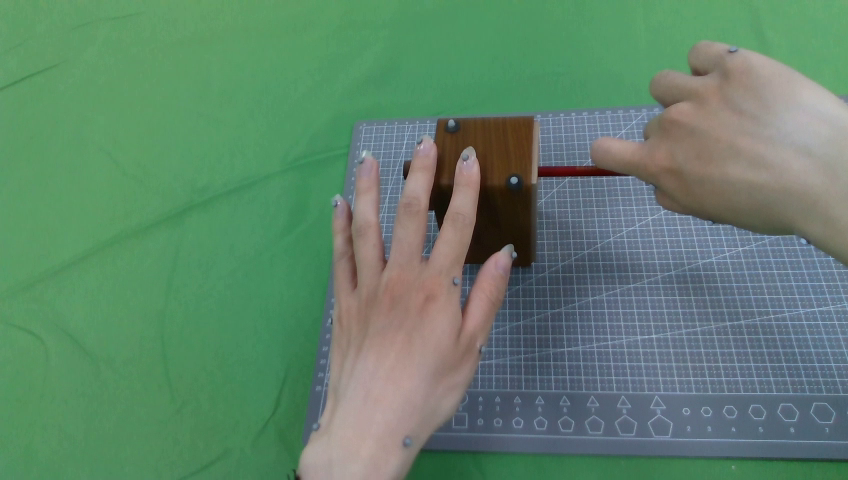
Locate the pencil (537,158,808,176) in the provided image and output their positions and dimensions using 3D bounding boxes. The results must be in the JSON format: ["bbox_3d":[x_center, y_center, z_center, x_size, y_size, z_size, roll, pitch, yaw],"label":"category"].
[{"bbox_3d":[0.146,-0.047,0.396,0.194,0.012,0.012,1,58,8],"label":"pencil"}]

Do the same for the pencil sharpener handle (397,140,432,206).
[{"bbox_3d":[-0.009,-0.044,0.436,0.030,0.068,0.035,2,63,11],"label":"pencil sharpener handle"}]

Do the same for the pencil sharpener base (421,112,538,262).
[{"bbox_3d":[0.043,-0.035,0.437,0.076,0.108,0.061,2,59,11],"label":"pencil sharpener base"}]
